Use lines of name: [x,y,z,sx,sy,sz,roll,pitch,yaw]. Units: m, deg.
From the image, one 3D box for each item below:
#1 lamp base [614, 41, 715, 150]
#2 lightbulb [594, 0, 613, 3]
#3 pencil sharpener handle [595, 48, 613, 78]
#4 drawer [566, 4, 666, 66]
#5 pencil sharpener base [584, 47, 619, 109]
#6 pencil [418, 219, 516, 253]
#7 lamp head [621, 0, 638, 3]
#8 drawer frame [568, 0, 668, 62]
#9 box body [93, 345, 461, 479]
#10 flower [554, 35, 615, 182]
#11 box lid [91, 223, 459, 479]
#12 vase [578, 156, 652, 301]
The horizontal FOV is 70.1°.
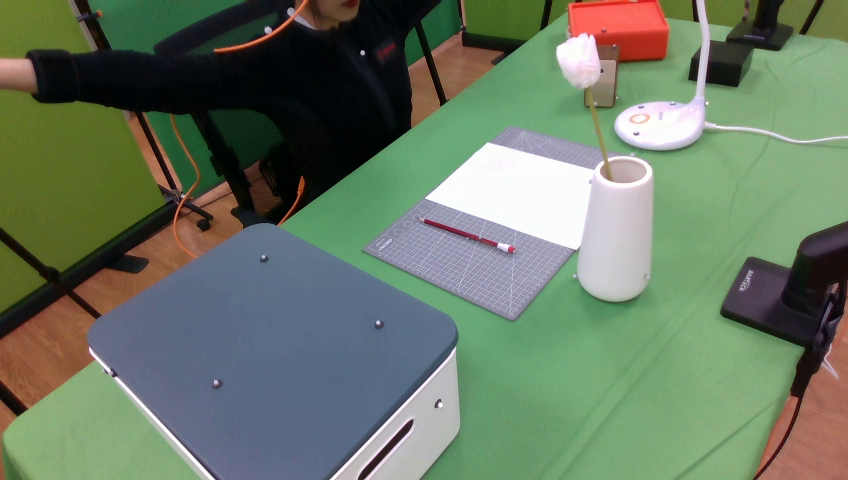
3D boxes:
lamp base: [0.449,-0.277,1.106,0.179,0.181,0.160,1,41,9]
lightbulb: [0.305,-0.438,0.978,0.060,0.107,0.059,13,43,-11]
pencil sharpener handle: [0.382,-0.378,1.276,0.036,0.068,0.030,3,41,21]
drawer: [0.447,-0.492,1.441,0.211,0.073,0.194,0,40,9]
pencil sharpener base: [0.367,-0.336,1.249,0.061,0.107,0.076,6,42,19]
pencil: [0.066,-0.009,0.992,0.192,0.012,0.012,19,47,32]
lamp head: [0.319,-0.453,0.962,0.113,0.123,0.112,20,33,-13]
drawer frame: [0.450,-0.495,1.441,0.213,0.083,0.201,-1,40,9]
box body: [-0.162,0.170,0.708,0.361,0.161,0.255,25,50,34]
flower: [0.237,-0.083,0.774,0.044,0.363,0.038,-22,26,7]
box lid: [-0.174,0.103,0.667,0.368,0.015,0.264,24,48,35]
vase: [0.261,-0.011,0.812,0.098,0.201,0.097,-4,40,4]
